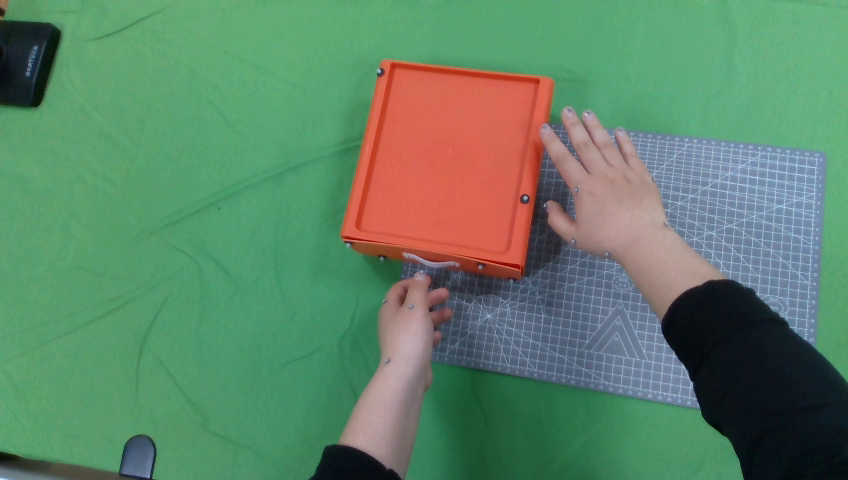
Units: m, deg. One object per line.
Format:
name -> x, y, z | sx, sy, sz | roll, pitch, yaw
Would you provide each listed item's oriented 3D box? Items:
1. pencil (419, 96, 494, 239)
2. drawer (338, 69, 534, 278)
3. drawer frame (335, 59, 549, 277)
pencil -> 0.039, -0.086, 0.709 | 0.012, 0.012, 0.193 | -26, 78, 2
drawer -> 0.024, -0.075, 0.682 | 0.194, 0.073, 0.211 | 9, 78, 10
drawer frame -> 0.024, -0.081, 0.682 | 0.201, 0.083, 0.212 | 8, 78, 10
